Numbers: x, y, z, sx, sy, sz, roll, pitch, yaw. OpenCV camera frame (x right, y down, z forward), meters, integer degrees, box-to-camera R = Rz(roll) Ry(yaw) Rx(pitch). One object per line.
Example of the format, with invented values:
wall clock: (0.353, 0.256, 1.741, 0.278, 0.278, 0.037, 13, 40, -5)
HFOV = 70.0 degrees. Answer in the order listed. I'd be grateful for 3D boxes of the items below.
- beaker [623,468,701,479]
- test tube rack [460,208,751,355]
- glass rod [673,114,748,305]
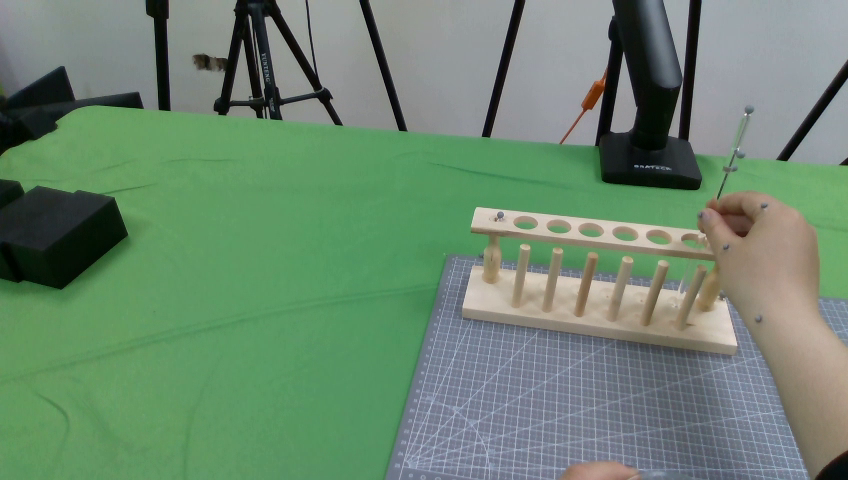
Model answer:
beaker: (0.119, 0.184, 0.323, 0.084, 0.101, 0.073, -2, 35, -7)
test tube rack: (0.158, 0.035, 0.554, 0.242, 0.086, 0.066, 7, 38, 9)
glass rod: (0.238, -0.015, 0.510, 0.008, 0.201, 0.008, -1, 40, 1)
